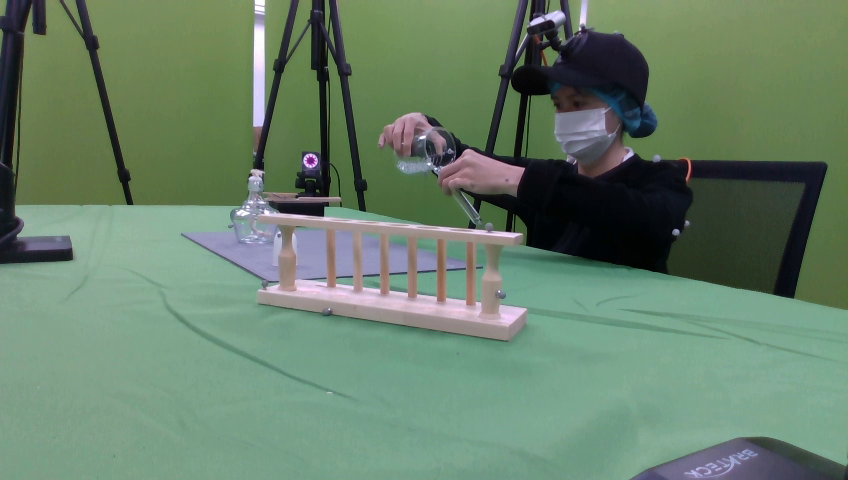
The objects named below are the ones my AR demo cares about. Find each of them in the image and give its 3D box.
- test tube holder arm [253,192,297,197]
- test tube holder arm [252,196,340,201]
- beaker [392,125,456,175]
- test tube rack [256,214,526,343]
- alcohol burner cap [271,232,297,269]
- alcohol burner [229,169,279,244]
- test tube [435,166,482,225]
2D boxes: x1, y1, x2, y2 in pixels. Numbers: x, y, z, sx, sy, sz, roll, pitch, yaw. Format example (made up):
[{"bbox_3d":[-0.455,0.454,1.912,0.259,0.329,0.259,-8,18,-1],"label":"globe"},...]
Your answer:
[{"bbox_3d":[-0.301,-0.092,1.223,0.088,0.010,0.015,0,7,-25],"label":"test tube holder arm"},{"bbox_3d":[-0.260,-0.086,1.242,0.179,0.013,0.015,-1,7,-25],"label":"test tube holder arm"},{"bbox_3d":[-0.003,-0.156,1.087,0.074,0.084,0.100,12,-10,-38],"label":"beaker"},{"bbox_3d":[-0.032,0.027,0.547,0.241,0.085,0.067,5,7,22],"label":"test tube rack"},{"bbox_3d":[-0.175,0.012,0.760,0.034,0.048,0.034,2,8,0],"label":"alcohol burner cap"},{"bbox_3d":[-0.268,-0.053,0.958,0.078,0.119,0.078,2,6,0],"label":"alcohol burner"},{"bbox_3d":[0.056,-0.075,0.999,0.017,0.017,0.149,-2,41,-31],"label":"test tube"}]
